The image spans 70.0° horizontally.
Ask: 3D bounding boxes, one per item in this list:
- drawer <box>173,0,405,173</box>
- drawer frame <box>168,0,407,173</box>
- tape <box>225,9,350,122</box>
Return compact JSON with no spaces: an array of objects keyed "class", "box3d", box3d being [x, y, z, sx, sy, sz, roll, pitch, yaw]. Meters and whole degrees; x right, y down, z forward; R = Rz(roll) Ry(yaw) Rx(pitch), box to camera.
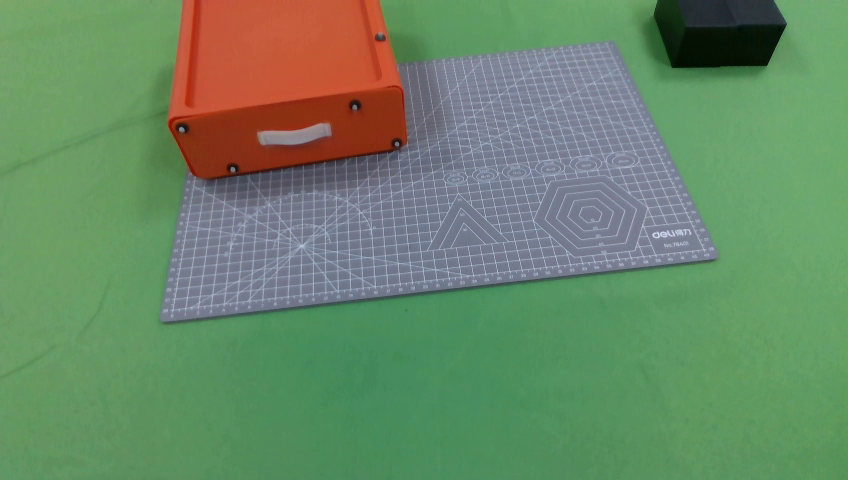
[{"class":"drawer","box3d":[-0.131,-0.174,0.597,0.195,0.074,0.209,-10,53,-4]},{"class":"drawer frame","box3d":[-0.133,-0.177,0.598,0.202,0.083,0.211,-10,53,-5]},{"class":"tape","box3d":[-0.134,-0.175,0.605,0.117,0.053,0.115,-1,55,1]}]
